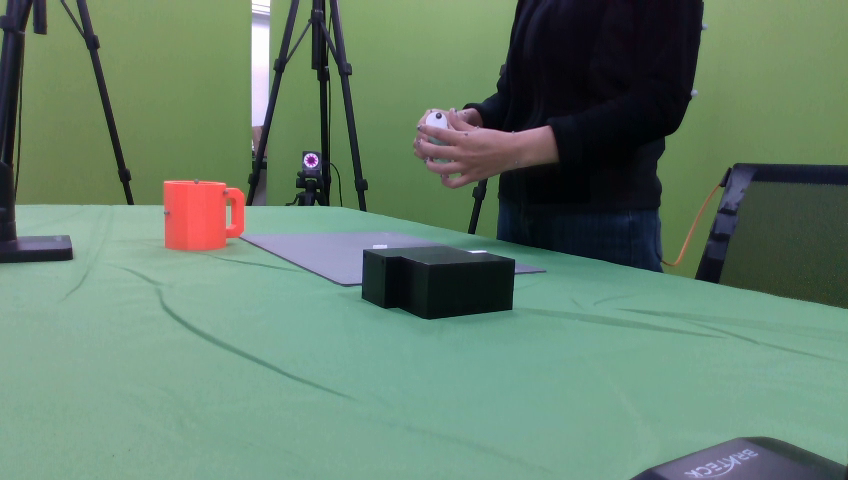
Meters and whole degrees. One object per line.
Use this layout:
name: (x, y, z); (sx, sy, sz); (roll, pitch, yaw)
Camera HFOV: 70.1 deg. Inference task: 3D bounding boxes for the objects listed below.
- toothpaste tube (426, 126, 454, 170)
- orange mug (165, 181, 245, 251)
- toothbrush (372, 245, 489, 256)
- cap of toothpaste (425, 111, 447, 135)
toothpaste tube: (0.028, -0.166, 1.050); (0.055, 0.034, 0.165); (41, -7, 14)
orange mug: (-0.326, -0.040, 0.911); (0.083, 0.101, 0.127); (8, 14, 37)
toothbrush: (0.012, 0.016, 0.875); (0.183, 0.016, 0.014); (1, -6, -22)
cap of toothpaste: (0.019, -0.188, 0.971); (0.037, 0.037, 0.011); (2, -2, -1)
